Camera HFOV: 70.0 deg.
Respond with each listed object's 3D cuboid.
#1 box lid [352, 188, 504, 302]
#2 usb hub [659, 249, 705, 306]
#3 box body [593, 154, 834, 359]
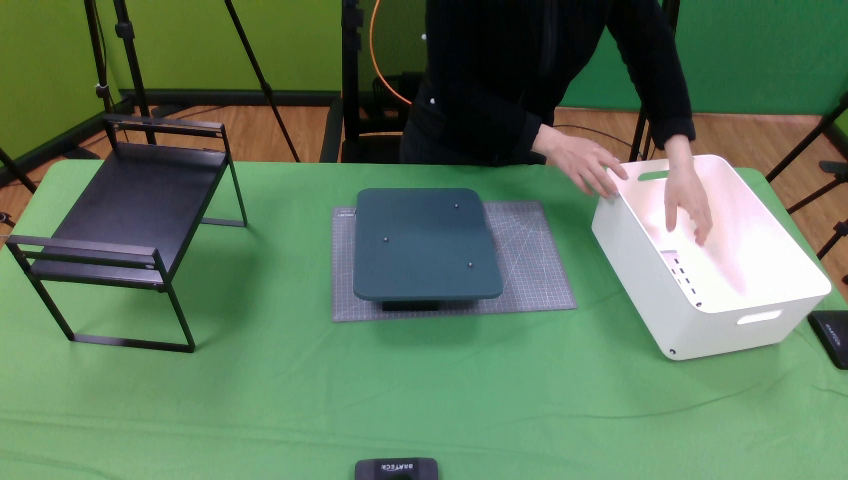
[{"bbox_3d":[-0.002,-0.006,1.162,0.263,0.015,0.369,0,34,-5],"label":"box lid"},{"bbox_3d":[0.481,0.071,1.150,0.049,0.025,0.124,-4,46,-7],"label":"usb hub"},{"bbox_3d":[0.497,0.023,1.111,0.254,0.161,0.361,-8,47,-10],"label":"box body"}]
